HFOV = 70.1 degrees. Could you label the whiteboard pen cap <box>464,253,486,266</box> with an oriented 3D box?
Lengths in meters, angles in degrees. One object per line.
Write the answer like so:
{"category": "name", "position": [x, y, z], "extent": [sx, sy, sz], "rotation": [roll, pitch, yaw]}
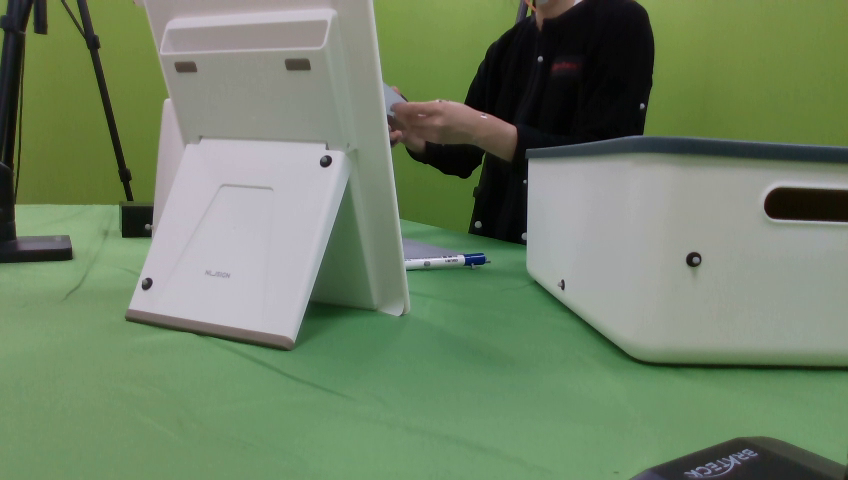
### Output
{"category": "whiteboard pen cap", "position": [0.066, 0.027, 0.818], "extent": [0.033, 0.018, 0.018], "rotation": [-6, 10, -24]}

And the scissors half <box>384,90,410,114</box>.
{"category": "scissors half", "position": [-0.095, -0.252, 1.060], "extent": [0.176, 0.040, 0.013], "rotation": [2, 4, -40]}

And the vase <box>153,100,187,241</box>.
{"category": "vase", "position": [-0.278, -0.066, 0.736], "extent": [0.098, 0.200, 0.098], "rotation": [2, 9, 0]}

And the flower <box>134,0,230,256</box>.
{"category": "flower", "position": [-0.282, -0.147, 0.713], "extent": [0.038, 0.362, 0.044], "rotation": [-23, 24, -31]}

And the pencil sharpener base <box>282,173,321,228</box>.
{"category": "pencil sharpener base", "position": [-0.247, -0.080, 1.212], "extent": [0.061, 0.107, 0.076], "rotation": [-2, 5, -28]}

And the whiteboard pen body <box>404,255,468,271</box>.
{"category": "whiteboard pen body", "position": [0.012, 0.030, 0.792], "extent": [0.141, 0.017, 0.017], "rotation": [-3, 9, -24]}

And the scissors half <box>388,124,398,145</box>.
{"category": "scissors half", "position": [-0.103, -0.230, 1.057], "extent": [0.012, 0.040, 0.176], "rotation": [14, -29, 51]}

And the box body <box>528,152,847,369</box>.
{"category": "box body", "position": [0.258, -0.005, 0.591], "extent": [0.254, 0.160, 0.363], "rotation": [2, 7, -4]}

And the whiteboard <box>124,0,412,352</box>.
{"category": "whiteboard", "position": [-0.151, -0.049, 0.472], "extent": [0.216, 0.305, 0.144], "rotation": [6, 27, 24]}

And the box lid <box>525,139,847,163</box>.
{"category": "box lid", "position": [0.261, -0.078, 0.580], "extent": [0.264, 0.015, 0.371], "rotation": [2, 7, -4]}

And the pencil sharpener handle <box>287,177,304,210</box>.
{"category": "pencil sharpener handle", "position": [-0.269, -0.096, 1.257], "extent": [0.036, 0.067, 0.030], "rotation": [-9, 8, -27]}

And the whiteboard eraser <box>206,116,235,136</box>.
{"category": "whiteboard eraser", "position": [-0.450, -0.252, 1.335], "extent": [0.056, 0.042, 0.112], "rotation": [1, 7, -22]}

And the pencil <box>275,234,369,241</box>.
{"category": "pencil", "position": [-0.169, -0.006, 1.036], "extent": [0.195, 0.012, 0.012], "rotation": [-2, 9, -45]}
